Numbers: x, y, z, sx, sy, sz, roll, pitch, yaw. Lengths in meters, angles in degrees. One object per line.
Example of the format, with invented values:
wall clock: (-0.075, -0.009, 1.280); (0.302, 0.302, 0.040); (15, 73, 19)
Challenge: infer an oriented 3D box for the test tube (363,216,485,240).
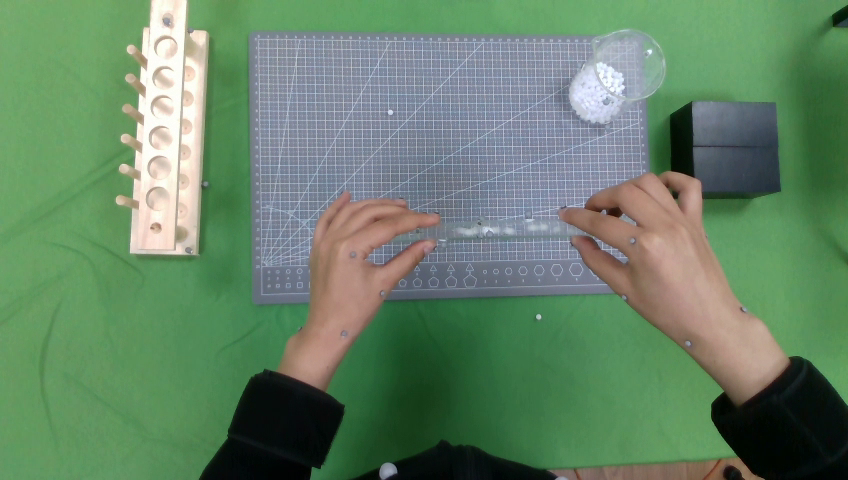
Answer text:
test tube: (-0.005, -0.009, 0.543); (0.017, 0.149, 0.017); (2, 87, -44)

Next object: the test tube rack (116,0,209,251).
test tube rack: (-0.267, -0.112, 0.612); (0.067, 0.085, 0.242); (2, 86, -5)

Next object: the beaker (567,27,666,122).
beaker: (0.199, -0.175, 0.653); (0.084, 0.100, 0.074); (36, 83, 0)

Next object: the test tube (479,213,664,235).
test tube: (0.120, -0.013, 0.491); (0.150, 0.017, 0.017); (-1, 86, -2)
